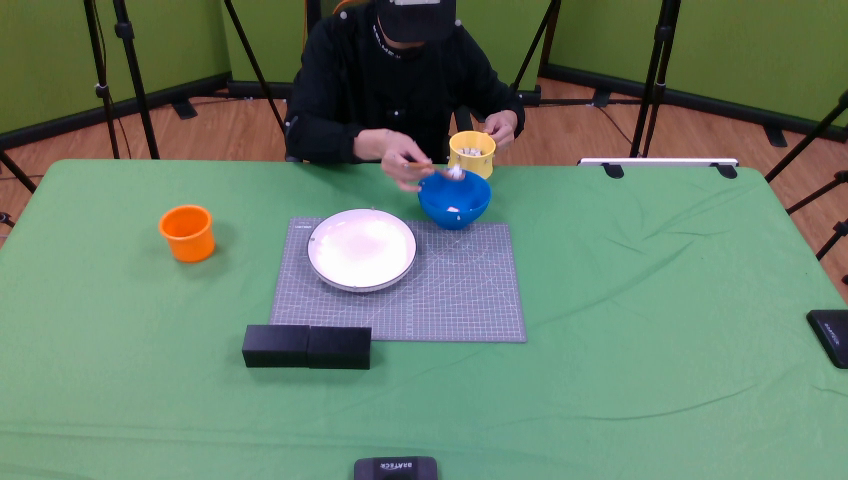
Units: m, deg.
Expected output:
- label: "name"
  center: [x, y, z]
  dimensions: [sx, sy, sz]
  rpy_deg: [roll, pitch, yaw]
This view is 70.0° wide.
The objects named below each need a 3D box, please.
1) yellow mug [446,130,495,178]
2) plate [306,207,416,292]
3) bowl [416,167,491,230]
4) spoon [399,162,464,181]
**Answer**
- label: "yellow mug"
  center: [0.108, -0.192, 1.314]
  dimensions: [0.099, 0.064, 0.130]
  rpy_deg: [24, 47, 20]
- label: "plate"
  center: [-0.119, 0.021, 1.153]
  dimensions: [0.209, 0.038, 0.208]
  rpy_deg: [2, 46, -2]
- label: "bowl"
  center: [0.057, -0.074, 1.232]
  dimensions: [0.151, 0.077, 0.150]
  rpy_deg: [3, 42, -2]
- label: "spoon"
  center: [0.015, -0.134, 1.145]
  dimensions: [0.041, 0.021, 0.194]
  rpy_deg: [34, 16, 32]
